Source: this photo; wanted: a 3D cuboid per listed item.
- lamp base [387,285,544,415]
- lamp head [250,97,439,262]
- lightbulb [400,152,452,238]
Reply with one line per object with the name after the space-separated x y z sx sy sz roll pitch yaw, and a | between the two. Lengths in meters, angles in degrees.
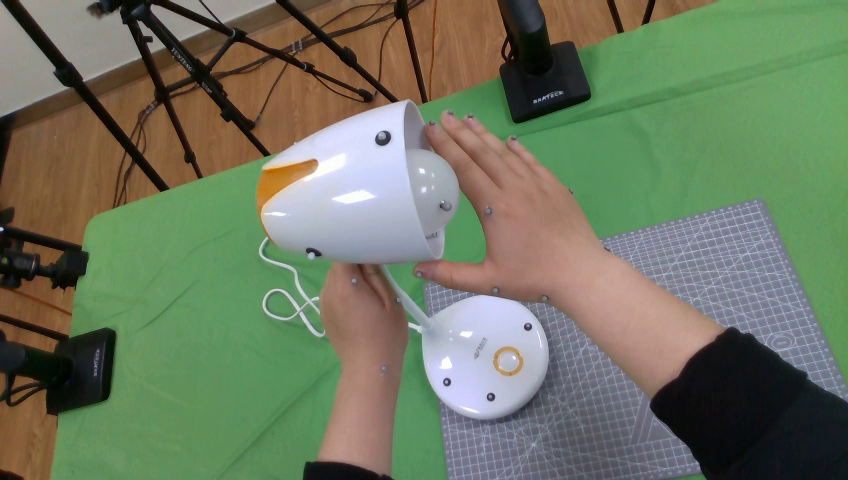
0.036 0.107 0.708 0.178 0.182 0.160 9 68 27 | lamp base
-0.055 -0.032 0.428 0.122 0.113 0.111 -12 62 16 | lamp head
-0.033 -0.024 0.418 0.107 0.060 0.059 -15 61 13 | lightbulb
